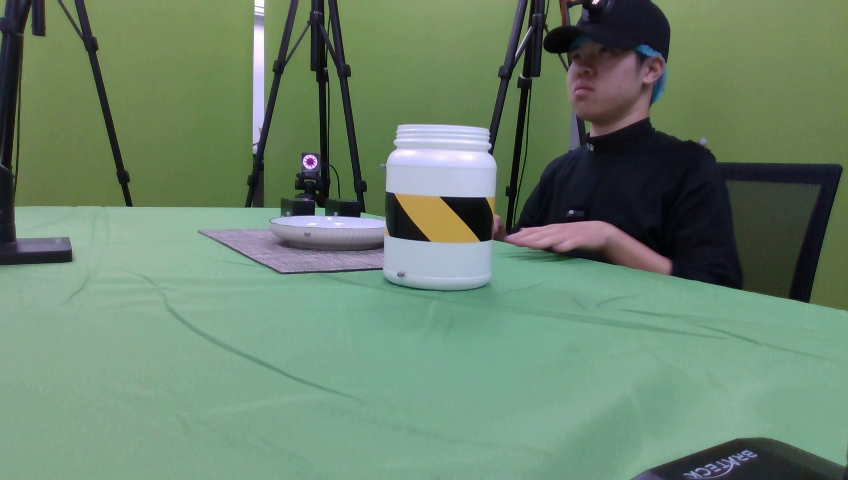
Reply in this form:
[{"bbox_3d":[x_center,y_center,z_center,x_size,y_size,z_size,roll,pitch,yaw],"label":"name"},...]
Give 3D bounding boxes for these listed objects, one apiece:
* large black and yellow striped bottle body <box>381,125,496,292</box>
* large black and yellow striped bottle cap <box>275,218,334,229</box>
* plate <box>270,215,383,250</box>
[{"bbox_3d":[0.018,-0.040,0.715,0.131,0.184,0.130,3,7,0],"label":"large black and yellow striped bottle body"},{"bbox_3d":[-0.236,-0.033,1.197,0.115,0.019,0.115,2,3,0],"label":"large black and yellow striped bottle cap"},{"bbox_3d":[-0.145,-0.013,0.991,0.208,0.039,0.207,2,7,0],"label":"plate"}]
